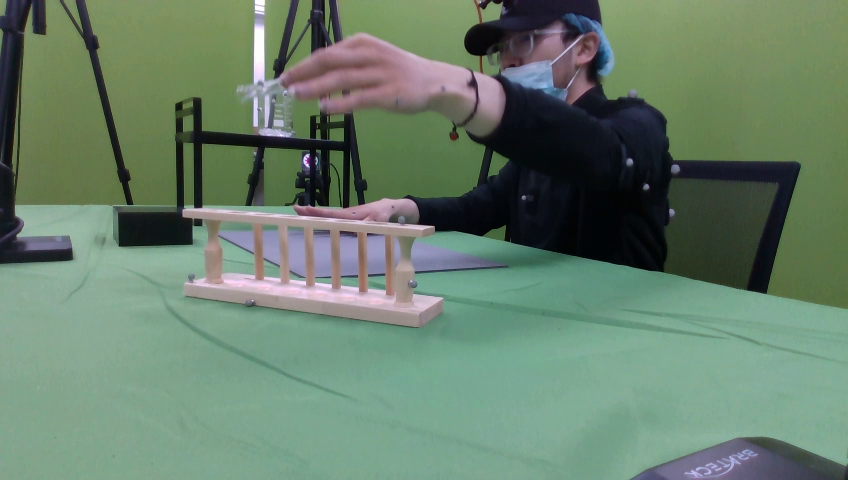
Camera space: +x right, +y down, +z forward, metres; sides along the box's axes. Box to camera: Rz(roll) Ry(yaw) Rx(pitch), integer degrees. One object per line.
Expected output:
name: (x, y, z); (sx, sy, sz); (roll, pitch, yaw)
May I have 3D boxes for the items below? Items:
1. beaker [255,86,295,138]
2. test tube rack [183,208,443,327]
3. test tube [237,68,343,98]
beaker: (-0.309, -0.263, 1.251); (0.084, 0.100, 0.073); (-4, 9, -38)
test tube rack: (-0.106, 0.019, 0.570); (0.241, 0.085, 0.067); (5, 8, 19)
test tube: (-0.147, -0.170, 0.656); (0.150, 0.017, 0.017); (1, 6, 32)
